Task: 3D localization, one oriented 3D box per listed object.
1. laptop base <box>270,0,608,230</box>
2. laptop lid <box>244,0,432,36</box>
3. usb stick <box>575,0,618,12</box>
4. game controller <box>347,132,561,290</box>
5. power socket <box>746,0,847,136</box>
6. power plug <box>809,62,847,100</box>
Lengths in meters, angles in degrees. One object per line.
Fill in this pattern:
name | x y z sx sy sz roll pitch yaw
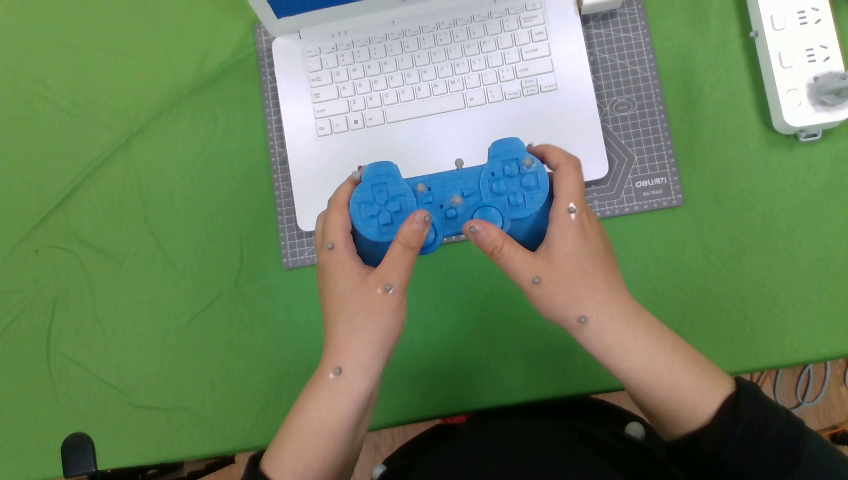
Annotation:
laptop base | 0.009 -0.155 0.688 0.354 0.023 0.235 -11 86 5
laptop lid | -0.028 -0.302 0.589 0.356 0.243 0.013 -11 74 7
usb stick | 0.183 -0.269 0.668 0.059 0.027 0.021 -10 83 10
game controller | 0.019 -0.021 0.441 0.155 0.051 0.097 -10 91 3
power socket | 0.391 -0.224 0.643 0.072 0.033 0.226 -8 83 7
power plug | 0.429 -0.158 0.612 0.072 0.053 0.035 3 83 3
